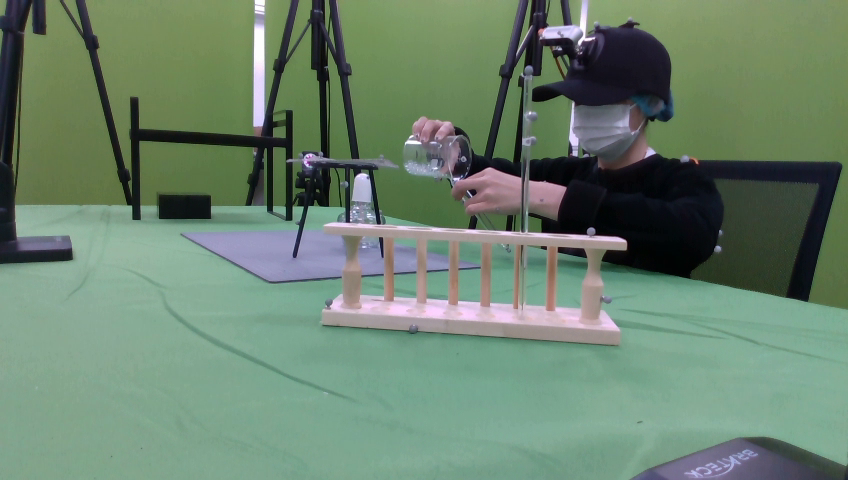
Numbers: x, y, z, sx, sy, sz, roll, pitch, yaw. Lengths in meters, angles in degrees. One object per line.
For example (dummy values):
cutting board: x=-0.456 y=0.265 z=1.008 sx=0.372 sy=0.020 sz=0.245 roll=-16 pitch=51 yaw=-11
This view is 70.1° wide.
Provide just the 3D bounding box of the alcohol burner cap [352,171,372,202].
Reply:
alcohol burner cap: x=-0.096 y=-0.084 z=0.951 sx=0.034 sy=0.048 sz=0.034 roll=6 pitch=5 yaw=0

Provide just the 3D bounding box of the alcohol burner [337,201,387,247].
alcohol burner: x=-0.098 y=-0.049 z=0.954 sx=0.078 sy=0.119 sz=0.078 roll=0 pitch=7 yaw=0

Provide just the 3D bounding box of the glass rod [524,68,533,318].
glass rod: x=0.082 y=-0.031 z=0.473 sx=0.008 sy=0.199 sz=0.008 roll=-2 pitch=14 yaw=1

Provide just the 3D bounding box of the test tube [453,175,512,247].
test tube: x=0.091 y=-0.046 z=0.955 sx=0.017 sy=0.017 sz=0.149 roll=-6 pitch=52 yaw=-46

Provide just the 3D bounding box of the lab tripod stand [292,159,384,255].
lab tripod stand: x=-0.105 y=-0.039 z=0.797 sx=0.148 sy=0.131 sz=0.148 roll=2 pitch=5 yaw=0

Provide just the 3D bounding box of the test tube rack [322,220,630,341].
test tube rack: x=0.041 y=0.029 z=0.512 sx=0.242 sy=0.085 sz=0.067 roll=3 pitch=7 yaw=5

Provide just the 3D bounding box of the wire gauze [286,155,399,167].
wire gauze: x=-0.101 y=-0.105 z=0.788 sx=0.121 sy=0.011 sz=0.125 roll=4 pitch=6 yaw=6

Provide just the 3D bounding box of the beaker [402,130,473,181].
beaker: x=0.021 y=-0.143 z=1.010 sx=0.100 sy=0.084 sz=0.074 roll=9 pitch=-1 yaw=34
